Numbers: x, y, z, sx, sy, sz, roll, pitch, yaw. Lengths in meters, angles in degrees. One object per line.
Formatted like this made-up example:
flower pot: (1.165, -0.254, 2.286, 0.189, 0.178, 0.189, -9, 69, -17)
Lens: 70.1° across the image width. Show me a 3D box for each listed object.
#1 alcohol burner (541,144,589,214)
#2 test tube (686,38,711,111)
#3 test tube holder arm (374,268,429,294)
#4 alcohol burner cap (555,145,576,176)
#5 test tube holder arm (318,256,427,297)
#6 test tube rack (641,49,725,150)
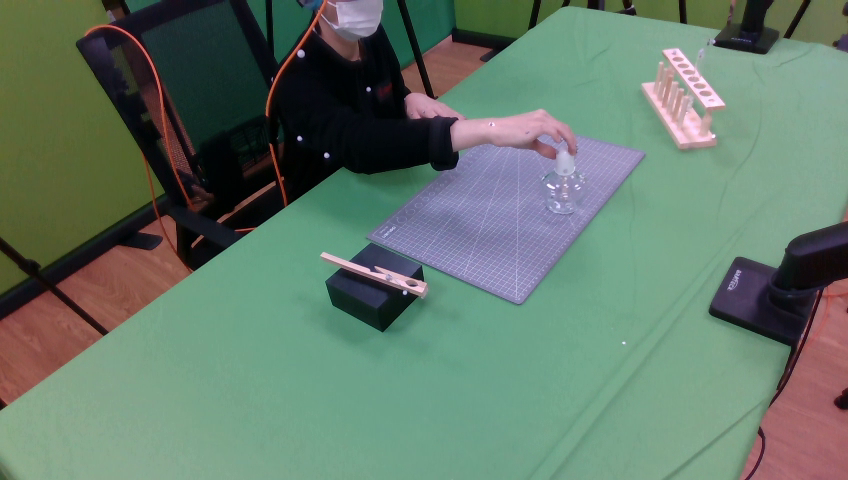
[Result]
alcohol burner: (0.229, -0.102, 0.983, 0.078, 0.119, 0.077, -6, 41, 5)
test tube: (0.508, -0.305, 1.128, 0.017, 0.151, 0.017, -2, 46, 3)
test tube holder arm: (-0.034, 0.056, 0.840, 0.087, 0.015, 0.010, 14, 49, 25)
alcohol burner cap: (0.224, -0.128, 0.958, 0.034, 0.048, 0.033, -6, 47, 7)
test tube holder arm: (-0.076, 0.050, 0.855, 0.177, 0.015, 0.013, 13, 49, 24)
test tube rack: (0.495, -0.279, 1.175, 0.067, 0.085, 0.241, -5, 41, 3)
